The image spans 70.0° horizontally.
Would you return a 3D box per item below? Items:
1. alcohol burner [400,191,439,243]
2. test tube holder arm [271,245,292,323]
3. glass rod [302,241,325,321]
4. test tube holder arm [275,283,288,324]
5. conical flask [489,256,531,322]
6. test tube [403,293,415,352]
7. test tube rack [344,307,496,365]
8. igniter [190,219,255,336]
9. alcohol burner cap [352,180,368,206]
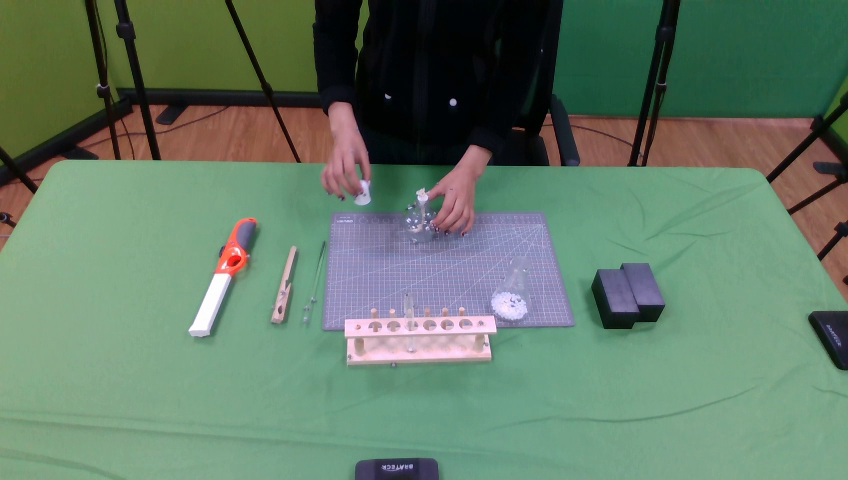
[{"bbox_3d":[-0.007,-0.051,1.182,0.078,0.119,0.077,4,46,-4],"label":"alcohol burner"},{"bbox_3d":[-0.259,0.076,1.106,0.013,0.015,0.177,29,38,-29],"label":"test tube holder arm"},{"bbox_3d":[-0.203,0.071,1.124,0.008,0.008,0.198,4,44,1],"label":"glass rod"},{"bbox_3d":[-0.254,0.111,1.077,0.010,0.015,0.087,30,38,-27],"label":"test tube holder arm"},{"bbox_3d":[0.158,0.081,1.061,0.075,0.122,0.075,2,46,-2],"label":"conical flask"},{"bbox_3d":[-0.024,0.133,0.957,0.017,0.151,0.017,0,48,0],"label":"test tube"},{"bbox_3d":[-0.009,0.154,1.007,0.242,0.085,0.066,-1,46,-5],"label":"test tube rack"},{"bbox_3d":[-0.365,0.058,1.110,0.057,0.025,0.275,-1,45,8],"label":"igniter"},{"bbox_3d":[-0.124,-0.091,1.156,0.034,0.048,0.033,-1,44,1],"label":"alcohol burner cap"}]
